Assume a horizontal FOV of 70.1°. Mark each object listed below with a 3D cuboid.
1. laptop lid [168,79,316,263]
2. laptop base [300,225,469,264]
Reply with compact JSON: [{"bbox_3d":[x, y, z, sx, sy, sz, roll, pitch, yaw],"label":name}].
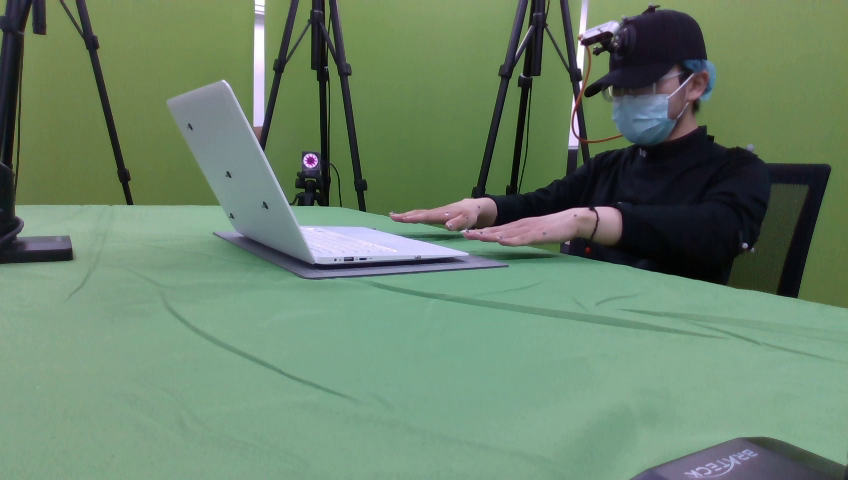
[{"bbox_3d":[-0.264,-0.093,0.831,0.013,0.242,0.355,-33,25,-25],"label":"laptop lid"},{"bbox_3d":[-0.124,0.005,0.936,0.237,0.023,0.352,2,6,-33],"label":"laptop base"}]
